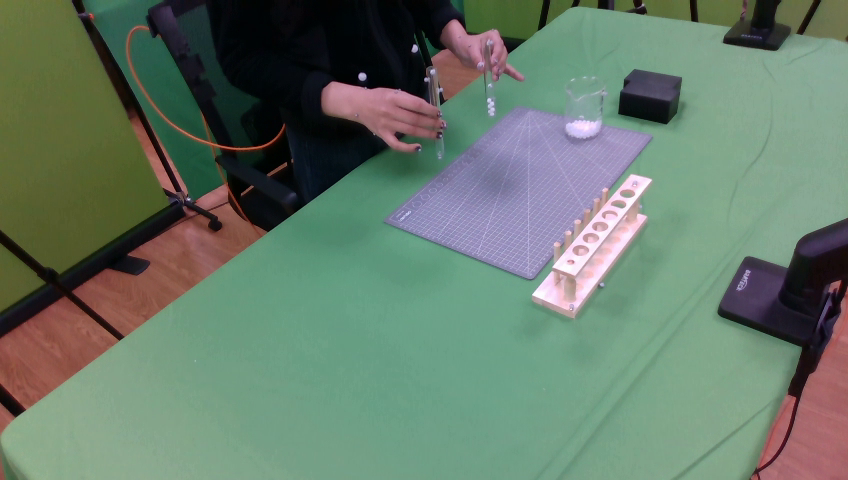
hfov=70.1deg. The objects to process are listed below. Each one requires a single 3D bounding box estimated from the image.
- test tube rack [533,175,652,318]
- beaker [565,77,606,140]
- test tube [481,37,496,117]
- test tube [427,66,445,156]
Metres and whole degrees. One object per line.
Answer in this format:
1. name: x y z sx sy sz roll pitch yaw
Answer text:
1. test tube rack: 0.250 -0.001 0.889 0.066 0.085 0.243 22 49 33
2. beaker: 0.304 -0.247 1.153 0.073 0.101 0.084 15 47 27
3. test tube: 0.114 -0.285 1.071 0.017 0.151 0.017 -6 41 6
4. test tube: 0.020 -0.202 0.961 0.017 0.151 0.017 -4 36 4
